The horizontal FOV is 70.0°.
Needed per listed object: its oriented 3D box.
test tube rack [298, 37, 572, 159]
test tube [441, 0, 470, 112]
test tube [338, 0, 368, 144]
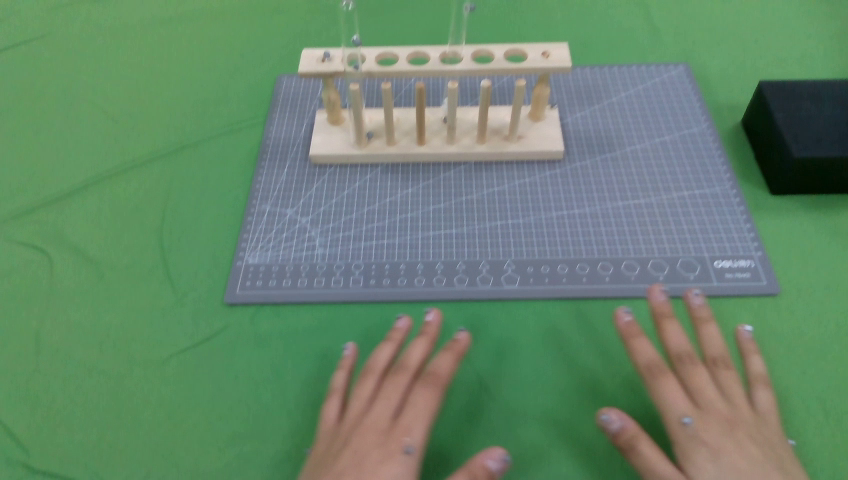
[{"bbox_3d":[0.010,-0.131,0.567,0.242,0.086,0.066,-1,53,2],"label":"test tube rack"},{"bbox_3d":[0.028,-0.175,0.536,0.017,0.151,0.017,2,51,-3],"label":"test tube"},{"bbox_3d":[-0.060,-0.142,0.522,0.017,0.152,0.017,1,53,-1],"label":"test tube"}]
